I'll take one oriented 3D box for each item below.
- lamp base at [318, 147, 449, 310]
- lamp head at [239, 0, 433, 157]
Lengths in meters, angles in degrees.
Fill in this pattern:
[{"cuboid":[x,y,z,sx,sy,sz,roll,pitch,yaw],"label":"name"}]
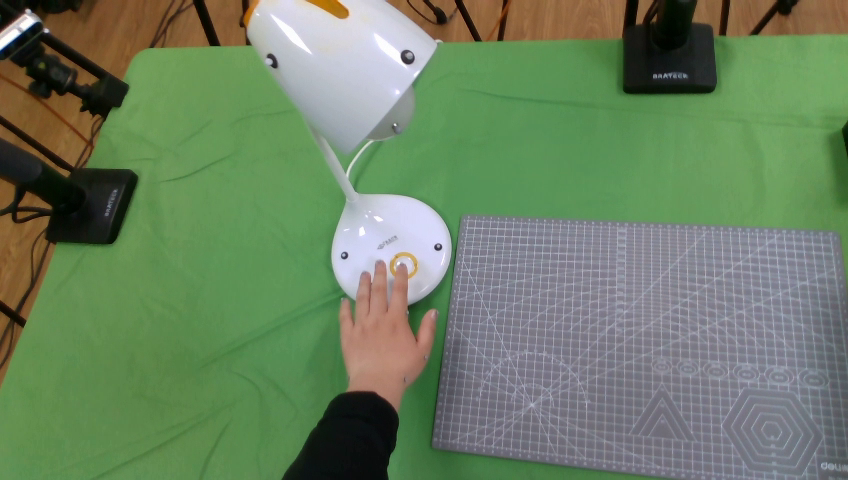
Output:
[{"cuboid":[-0.069,-0.024,0.727,0.160,0.182,0.177,-43,62,-10],"label":"lamp base"},{"cuboid":[-0.073,-0.140,0.450,0.123,0.112,0.112,37,75,-11],"label":"lamp head"}]
